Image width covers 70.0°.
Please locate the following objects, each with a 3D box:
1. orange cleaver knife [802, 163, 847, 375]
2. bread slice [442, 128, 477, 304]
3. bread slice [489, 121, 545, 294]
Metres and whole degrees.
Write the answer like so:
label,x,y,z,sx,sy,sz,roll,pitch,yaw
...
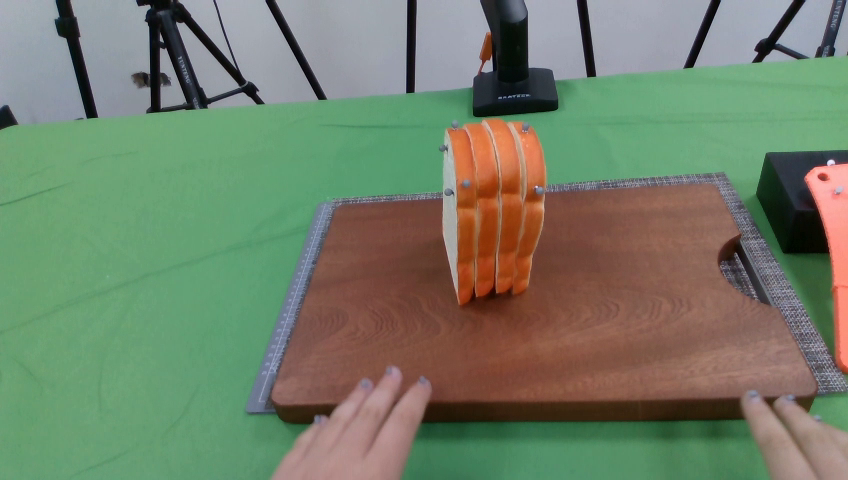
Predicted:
label,x,y,z,sx,sy,sz,roll,pitch,yaw
orange cleaver knife,0.363,0.014,0.501,0.077,0.012,0.210,8,60,13
bread slice,0.030,-0.029,0.530,0.018,0.135,0.106,-5,35,-3
bread slice,0.080,-0.034,0.527,0.019,0.132,0.104,-2,40,-7
